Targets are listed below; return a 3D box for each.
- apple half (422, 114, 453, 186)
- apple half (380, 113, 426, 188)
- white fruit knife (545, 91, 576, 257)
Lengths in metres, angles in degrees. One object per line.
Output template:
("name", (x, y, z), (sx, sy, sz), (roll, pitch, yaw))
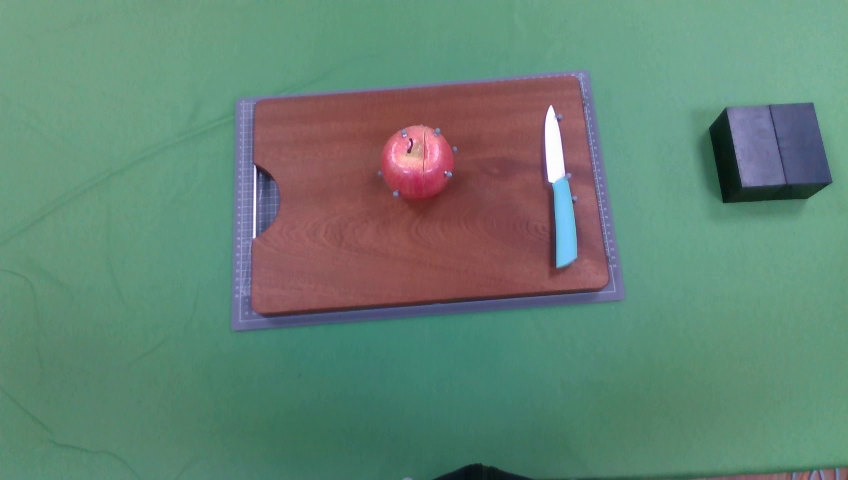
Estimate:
("apple half", (0.016, -0.098, 0.673), (0.033, 0.082, 0.081), (0, 74, 5))
("apple half", (-0.022, -0.098, 0.676), (0.053, 0.075, 0.080), (-1, 78, 7))
("white fruit knife", (0.154, -0.080, 0.694), (0.027, 0.016, 0.206), (2, 73, -11))
